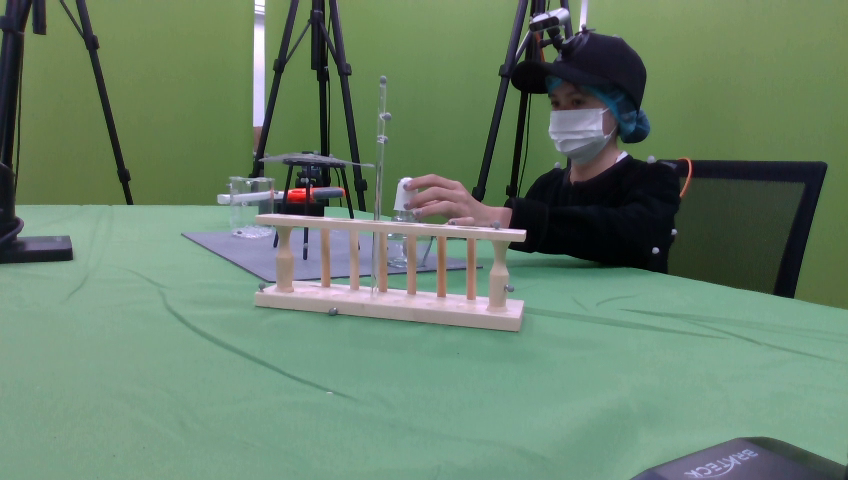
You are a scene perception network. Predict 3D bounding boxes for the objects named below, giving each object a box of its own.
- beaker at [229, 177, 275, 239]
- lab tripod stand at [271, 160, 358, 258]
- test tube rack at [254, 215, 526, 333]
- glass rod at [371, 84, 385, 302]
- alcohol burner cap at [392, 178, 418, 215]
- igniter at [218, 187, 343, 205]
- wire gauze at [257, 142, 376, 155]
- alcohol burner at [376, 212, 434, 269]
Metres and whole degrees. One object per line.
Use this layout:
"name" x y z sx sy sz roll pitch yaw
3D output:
"beaker" -0.292 -0.056 1.023 0.074 0.100 0.083 -1 8 -26
"lab tripod stand" -0.159 -0.048 0.876 0.148 0.131 0.148 3 5 0
"test tube rack" -0.030 0.025 0.558 0.242 0.085 0.067 4 7 12
"glass rod" -0.041 -0.041 0.548 0.008 0.199 0.008 2 2 0
"alcohol burner cap" -0.023 -0.058 0.795 0.034 0.048 0.034 6 3 0
"igniter" -0.287 -0.093 1.257 0.278 0.025 0.057 -8 13 -41
"wire gauze" -0.155 -0.130 0.871 0.124 0.011 0.122 -1 7 36
"alcohol burner" -0.025 -0.022 0.801 0.078 0.119 0.078 1 6 0
